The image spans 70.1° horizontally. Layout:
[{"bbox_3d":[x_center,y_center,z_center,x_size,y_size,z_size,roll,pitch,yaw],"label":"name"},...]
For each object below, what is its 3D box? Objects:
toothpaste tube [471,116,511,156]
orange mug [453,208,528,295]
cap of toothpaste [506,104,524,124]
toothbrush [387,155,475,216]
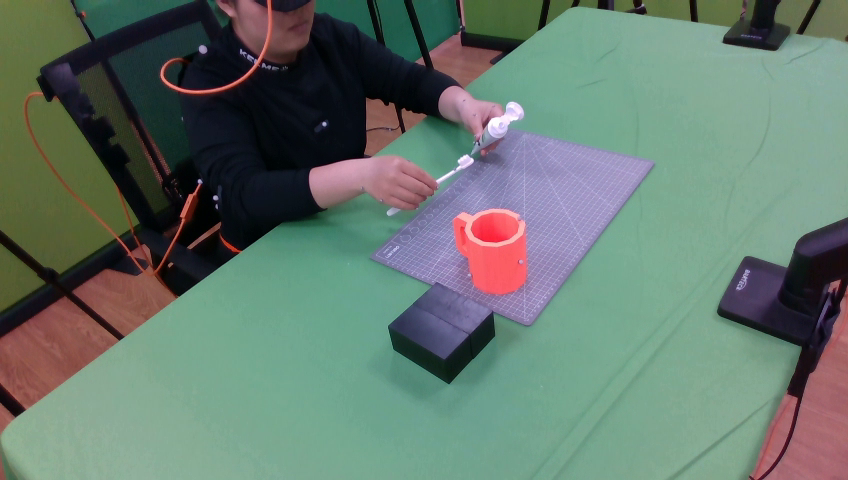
[{"bbox_3d":[0.116,-0.190,1.078,0.034,0.164,0.055,32,81,-8],"label":"toothpaste tube"},{"bbox_3d":[0.095,0.009,0.894,0.125,0.101,0.084,32,55,33],"label":"orange mug"},{"bbox_3d":[0.149,-0.206,0.994,0.011,0.037,0.037,-38,48,-23],"label":"cap of toothpaste"},{"bbox_3d":[0.007,-0.088,0.998,0.181,0.017,0.014,-32,42,25],"label":"toothbrush"}]
